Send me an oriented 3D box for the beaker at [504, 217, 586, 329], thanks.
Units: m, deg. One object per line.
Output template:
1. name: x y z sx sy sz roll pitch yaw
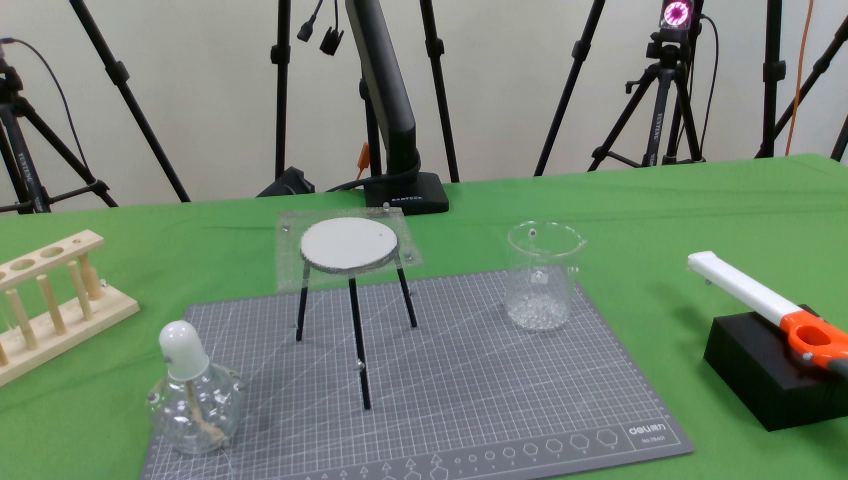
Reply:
1. beaker: 0.123 0.036 0.637 0.084 0.101 0.073 -2 31 -2

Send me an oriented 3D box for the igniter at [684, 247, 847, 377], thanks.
1. igniter: 0.340 0.075 0.550 0.057 0.025 0.273 -10 29 -16

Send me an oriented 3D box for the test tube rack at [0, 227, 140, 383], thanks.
1. test tube rack: -0.416 0.081 0.592 0.066 0.086 0.242 20 36 31

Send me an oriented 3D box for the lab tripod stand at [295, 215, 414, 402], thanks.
1. lab tripod stand: -0.065 0.056 0.573 0.148 0.132 0.147 1 32 0

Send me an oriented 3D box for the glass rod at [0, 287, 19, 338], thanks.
1. glass rod: -0.413 0.017 0.569 0.008 0.201 0.008 3 32 -2

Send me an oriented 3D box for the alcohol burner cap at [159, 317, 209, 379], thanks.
1. alcohol burner cap: -0.192 0.083 0.480 0.034 0.048 0.033 -1 35 1

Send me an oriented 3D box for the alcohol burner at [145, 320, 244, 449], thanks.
1. alcohol burner: -0.191 0.113 0.498 0.078 0.120 0.077 1 30 0

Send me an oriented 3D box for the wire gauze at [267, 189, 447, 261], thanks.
1. wire gauze: -0.061 -0.014 0.527 0.125 0.011 0.120 -11 28 -30
